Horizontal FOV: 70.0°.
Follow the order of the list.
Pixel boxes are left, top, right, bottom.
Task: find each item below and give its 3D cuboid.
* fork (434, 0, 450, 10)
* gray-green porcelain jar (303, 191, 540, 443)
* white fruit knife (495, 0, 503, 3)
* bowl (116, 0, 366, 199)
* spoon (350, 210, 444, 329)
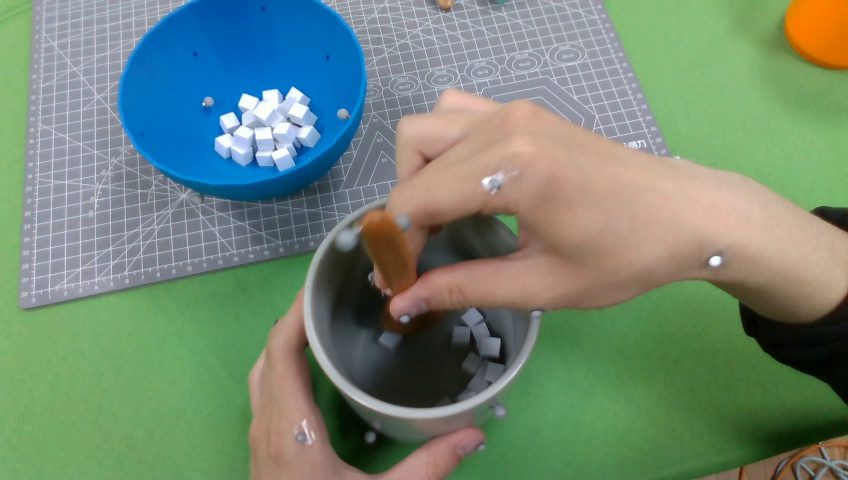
[{"bbox_3d":[-0.010,-0.285,0.487,0.028,0.018,0.207,-14,86,-11],"label":"fork"},{"bbox_3d":[0.000,0.049,0.321,0.106,0.127,0.105,0,66,1],"label":"gray-green porcelain jar"},{"bbox_3d":[0.038,-0.293,0.492,0.016,0.027,0.206,-12,81,-6],"label":"white fruit knife"},{"bbox_3d":[-0.110,-0.083,0.401,0.151,0.077,0.150,0,66,0],"label":"bowl"},{"bbox_3d":[-0.009,0.020,0.271,0.041,0.194,0.021,-21,78,-3],"label":"spoon"}]
